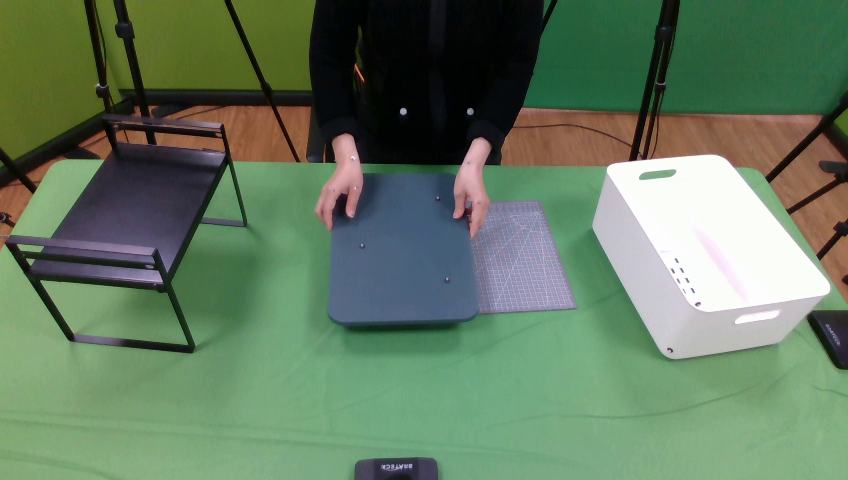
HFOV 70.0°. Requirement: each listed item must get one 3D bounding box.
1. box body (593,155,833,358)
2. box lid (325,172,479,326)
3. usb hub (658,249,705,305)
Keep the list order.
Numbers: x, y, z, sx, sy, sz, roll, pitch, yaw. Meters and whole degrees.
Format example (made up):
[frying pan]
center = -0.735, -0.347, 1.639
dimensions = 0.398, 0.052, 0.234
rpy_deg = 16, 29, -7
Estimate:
[box body]
center = 0.497, 0.023, 1.112
dimensions = 0.254, 0.161, 0.361
rpy_deg = -7, 47, -10
[box lid]
center = -0.044, 0.000, 1.130
dimensions = 0.263, 0.015, 0.369
rpy_deg = -1, 49, -4
[usb hub]
center = 0.481, 0.070, 1.152
dimensions = 0.049, 0.025, 0.124
rpy_deg = -4, 45, -6
